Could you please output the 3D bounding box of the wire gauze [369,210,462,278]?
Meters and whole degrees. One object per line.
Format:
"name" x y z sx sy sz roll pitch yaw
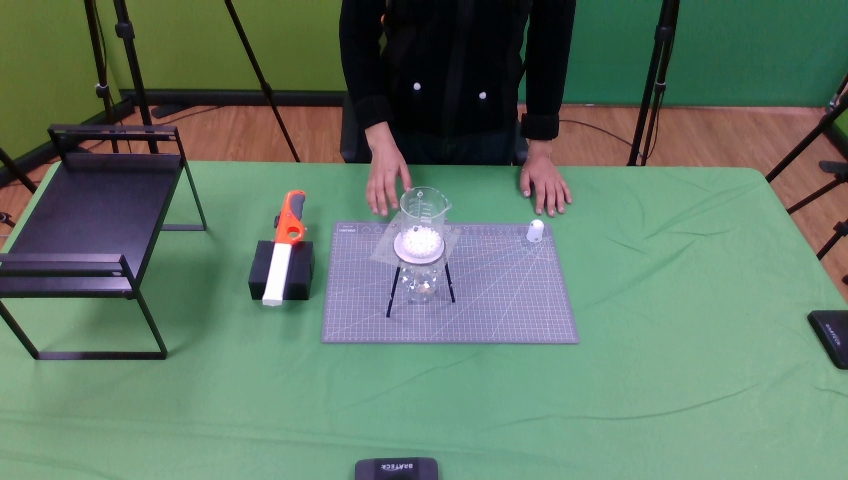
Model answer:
"wire gauze" -0.013 0.007 1.019 0.121 0.011 0.124 16 51 13

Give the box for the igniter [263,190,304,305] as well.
"igniter" -0.255 0.004 1.107 0.057 0.025 0.274 6 46 -7

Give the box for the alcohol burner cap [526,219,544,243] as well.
"alcohol burner cap" 0.225 -0.021 1.218 0.034 0.048 0.033 2 46 -1

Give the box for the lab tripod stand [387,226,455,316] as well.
"lab tripod stand" -0.013 0.054 1.064 0.148 0.132 0.147 2 48 -2

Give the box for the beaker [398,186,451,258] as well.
"beaker" -0.001 -0.026 0.984 0.084 0.101 0.073 1 48 -3

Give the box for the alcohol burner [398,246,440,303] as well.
"alcohol burner" -0.008 0.056 1.077 0.078 0.119 0.077 3 44 -3
